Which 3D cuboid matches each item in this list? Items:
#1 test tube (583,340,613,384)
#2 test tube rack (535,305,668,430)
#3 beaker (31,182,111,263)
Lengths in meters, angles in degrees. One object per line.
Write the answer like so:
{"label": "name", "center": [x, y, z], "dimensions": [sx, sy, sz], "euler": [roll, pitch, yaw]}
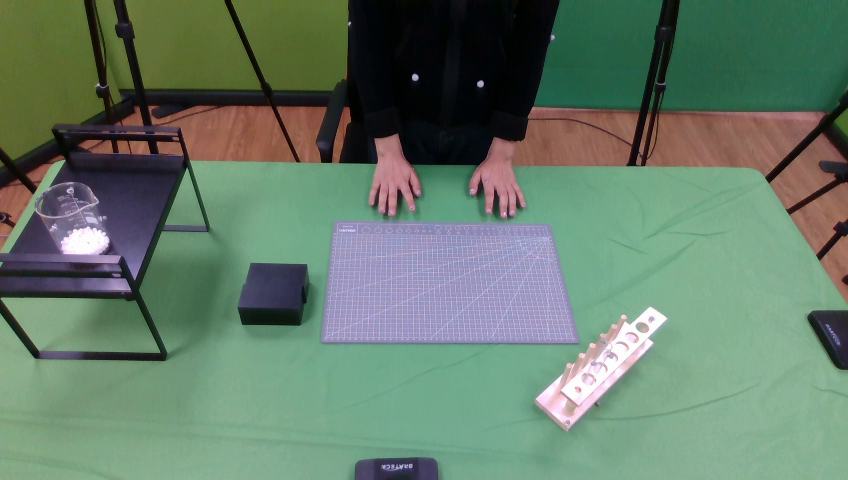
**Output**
{"label": "test tube", "center": [0.252, 0.200, 0.907], "dimensions": [0.017, 0.151, 0.017], "euler": [5, 44, -4]}
{"label": "test tube rack", "center": [0.290, 0.193, 0.984], "dimensions": [0.242, 0.085, 0.066], "euler": [-32, 56, -30]}
{"label": "beaker", "center": [-0.502, -0.022, 0.877], "dimensions": [0.084, 0.101, 0.073], "euler": [-2, 47, -7]}
